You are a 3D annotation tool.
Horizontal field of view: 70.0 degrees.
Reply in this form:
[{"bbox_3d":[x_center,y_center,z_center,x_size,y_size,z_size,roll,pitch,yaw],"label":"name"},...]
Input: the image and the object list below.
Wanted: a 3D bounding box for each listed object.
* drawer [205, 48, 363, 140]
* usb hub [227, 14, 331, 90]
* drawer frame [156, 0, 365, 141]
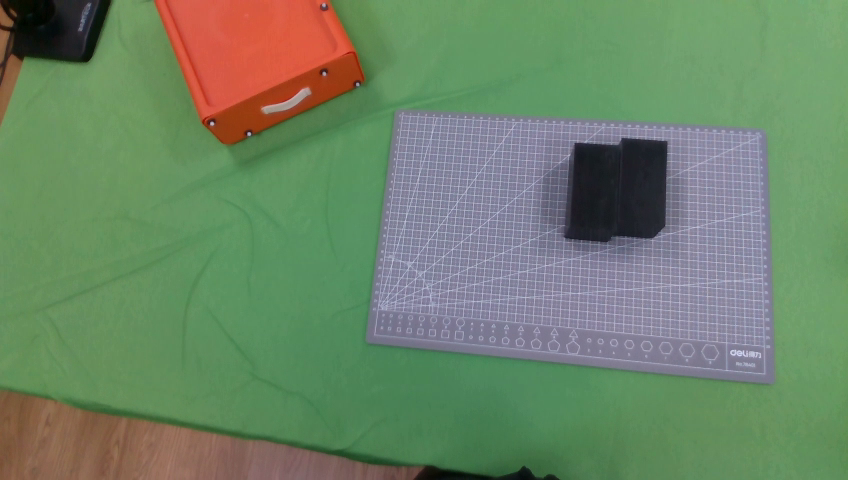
[{"bbox_3d":[-0.210,-0.261,0.772,0.194,0.074,0.210,-26,73,-2],"label":"drawer"},{"bbox_3d":[-0.185,-0.239,0.773,0.125,0.025,0.049,-21,88,7],"label":"usb hub"},{"bbox_3d":[-0.210,-0.264,0.768,0.202,0.083,0.212,-26,74,-2],"label":"drawer frame"}]
